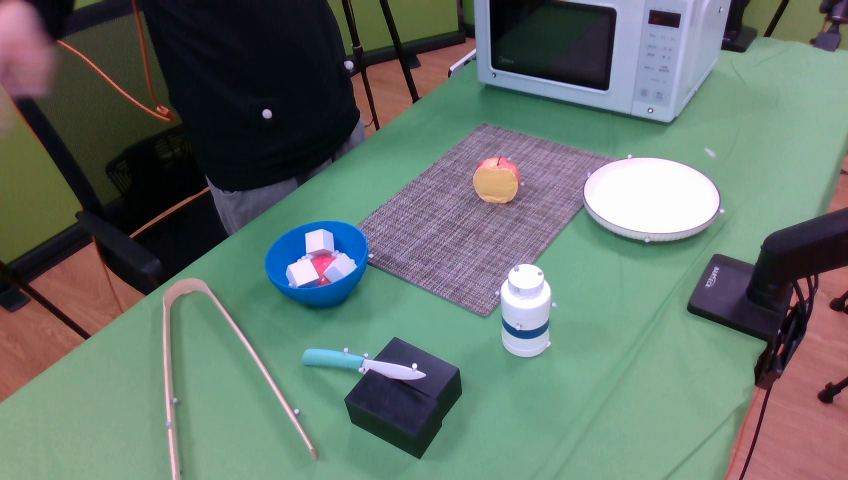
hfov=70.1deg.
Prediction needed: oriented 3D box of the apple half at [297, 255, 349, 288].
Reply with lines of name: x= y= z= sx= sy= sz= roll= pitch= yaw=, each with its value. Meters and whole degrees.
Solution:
apple half: x=-0.154 y=0.044 z=0.889 sx=0.081 sy=0.033 sz=0.081 roll=-2 pitch=40 yaw=2

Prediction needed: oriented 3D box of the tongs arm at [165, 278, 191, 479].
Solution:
tongs arm: x=-0.313 y=0.182 z=0.789 sx=0.051 sy=0.026 sz=0.381 roll=-19 pitch=41 yaw=-14

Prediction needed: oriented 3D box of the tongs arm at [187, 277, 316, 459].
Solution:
tongs arm: x=-0.240 y=0.154 z=0.815 sx=0.028 sy=0.028 sz=0.384 roll=-31 pitch=46 yaw=-21

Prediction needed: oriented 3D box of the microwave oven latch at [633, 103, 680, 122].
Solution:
microwave oven latch: x=0.444 y=-0.249 z=1.157 sx=0.078 sy=0.029 sz=0.030 roll=20 pitch=48 yaw=30

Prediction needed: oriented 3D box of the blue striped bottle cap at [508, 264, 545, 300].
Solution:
blue striped bottle cap: x=0.125 y=0.051 z=0.735 sx=0.044 sy=0.021 sz=0.044 roll=-5 pitch=39 yaw=5

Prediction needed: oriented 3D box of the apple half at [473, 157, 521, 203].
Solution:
apple half: x=0.127 y=-0.106 z=1.030 sx=0.080 sy=0.075 sz=0.053 roll=4 pitch=36 yaw=19

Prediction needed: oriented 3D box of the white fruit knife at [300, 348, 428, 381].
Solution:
white fruit knife: x=-0.079 y=0.154 z=0.748 sx=0.206 sy=0.027 sz=0.016 roll=1 pitch=20 yaw=34

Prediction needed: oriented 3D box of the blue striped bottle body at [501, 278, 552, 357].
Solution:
blue striped bottle body: x=0.130 y=0.088 z=0.769 sx=0.063 sy=0.121 sz=0.063 roll=-4 pitch=41 yaw=4

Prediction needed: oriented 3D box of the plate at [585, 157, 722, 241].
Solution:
plate: x=0.367 y=-0.063 z=0.979 sx=0.207 sy=0.039 sz=0.206 roll=-4 pitch=40 yaw=4

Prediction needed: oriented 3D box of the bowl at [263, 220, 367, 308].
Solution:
bowl: x=-0.152 y=0.047 z=0.891 sx=0.151 sy=0.077 sz=0.150 roll=-4 pitch=40 yaw=3

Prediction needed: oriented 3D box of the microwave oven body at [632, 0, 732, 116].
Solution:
microwave oven body: x=0.377 y=-0.462 z=1.267 sx=0.438 sy=0.261 sz=0.327 roll=21 pitch=48 yaw=30

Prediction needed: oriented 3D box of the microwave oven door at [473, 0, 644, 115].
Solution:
microwave oven door: x=0.257 y=-0.396 z=1.199 sx=0.353 sy=0.245 sz=0.039 roll=21 pitch=48 yaw=29
